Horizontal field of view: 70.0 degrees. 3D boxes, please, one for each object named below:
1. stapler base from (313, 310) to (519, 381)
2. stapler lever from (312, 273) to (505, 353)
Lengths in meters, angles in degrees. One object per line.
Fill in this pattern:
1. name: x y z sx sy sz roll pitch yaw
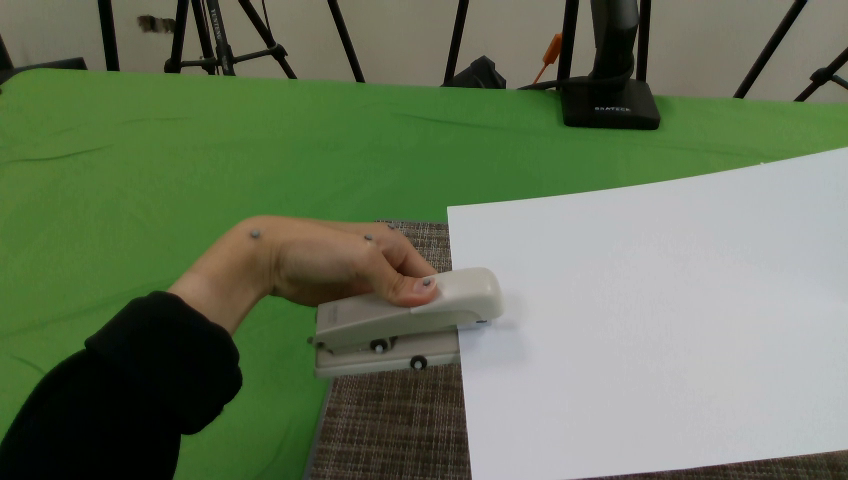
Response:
1. stapler base: -0.007 0.059 0.381 0.130 0.025 0.041 -8 40 1
2. stapler lever: -0.010 0.044 0.365 0.118 0.040 0.026 -5 40 -1
